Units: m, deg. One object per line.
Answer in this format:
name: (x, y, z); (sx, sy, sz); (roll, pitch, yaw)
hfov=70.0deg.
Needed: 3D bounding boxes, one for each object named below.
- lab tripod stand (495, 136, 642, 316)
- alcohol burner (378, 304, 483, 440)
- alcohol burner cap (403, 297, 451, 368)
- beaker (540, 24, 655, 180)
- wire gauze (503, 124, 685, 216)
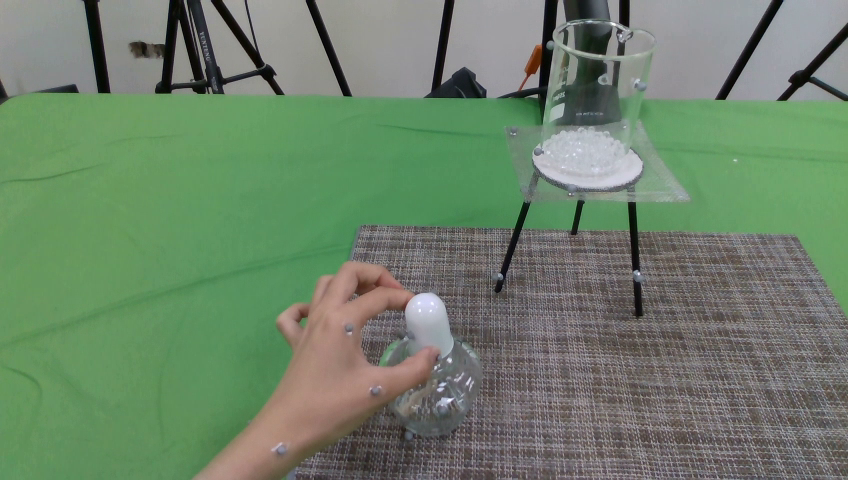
lab tripod stand: (0.138, -0.013, 0.535); (0.148, 0.132, 0.147); (0, 38, 0)
alcohol burner: (0.005, 0.087, 0.431); (0.078, 0.120, 0.077); (0, 40, 0)
alcohol burner cap: (0.000, 0.059, 0.410); (0.034, 0.048, 0.033); (-2, 39, 2)
beaker: (0.130, -0.105, 0.467); (0.073, 0.101, 0.084); (26, 46, 28)
wire gauze: (0.132, -0.061, 0.491); (0.125, 0.011, 0.120); (1, 40, -3)
